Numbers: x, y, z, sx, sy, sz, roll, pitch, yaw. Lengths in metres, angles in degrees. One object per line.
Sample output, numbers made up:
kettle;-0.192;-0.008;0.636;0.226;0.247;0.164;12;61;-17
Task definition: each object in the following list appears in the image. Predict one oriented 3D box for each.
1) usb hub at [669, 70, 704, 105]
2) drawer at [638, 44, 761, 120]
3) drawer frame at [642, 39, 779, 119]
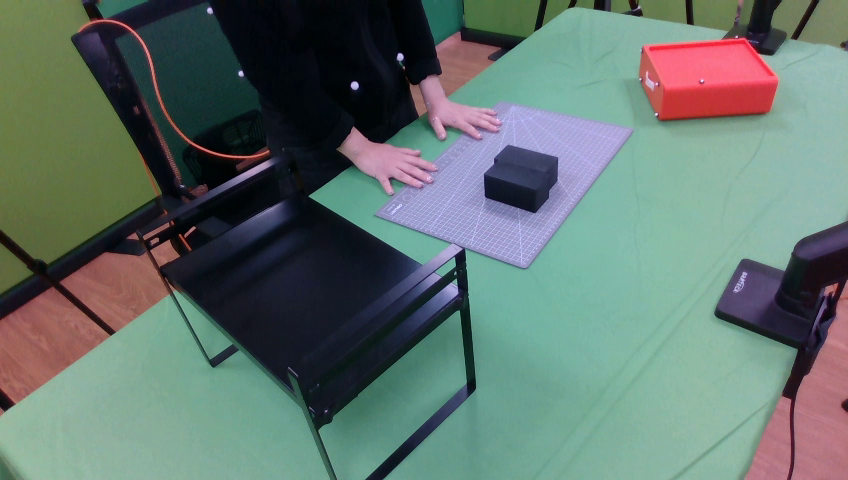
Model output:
usb hub;0.533;-0.310;1.229;0.049;0.025;0.125;-9;30;19
drawer;0.561;-0.327;1.230;0.212;0.073;0.193;-2;41;4
drawer frame;0.563;-0.329;1.228;0.213;0.083;0.201;-2;40;5
